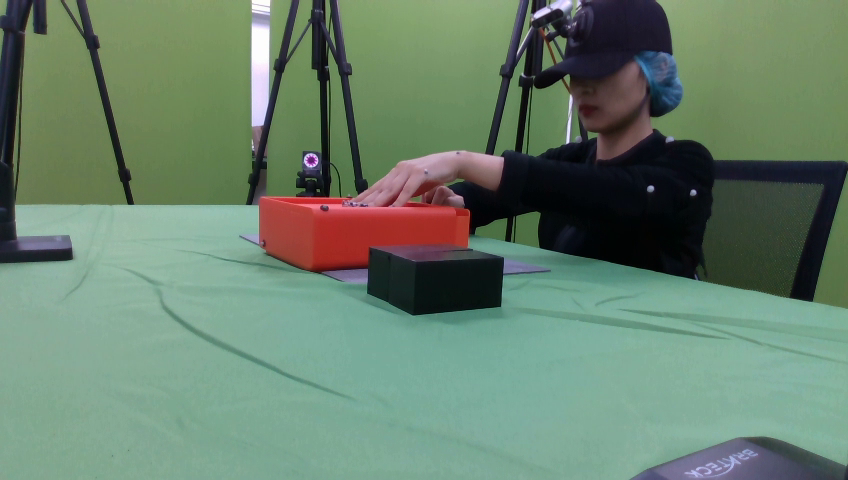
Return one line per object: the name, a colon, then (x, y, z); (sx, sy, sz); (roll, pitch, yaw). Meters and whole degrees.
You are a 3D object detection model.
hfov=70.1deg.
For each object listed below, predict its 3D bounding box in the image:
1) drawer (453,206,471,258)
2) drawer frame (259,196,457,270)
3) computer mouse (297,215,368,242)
drawer: (-0.074, -0.017, 0.861); (0.213, 0.073, 0.193); (-3, 10, -34)
drawer frame: (-0.095, -0.018, 0.845); (0.215, 0.082, 0.200); (-3, 10, -34)
computer mouse: (-0.156, -0.021, 1.032); (0.118, 0.041, 0.062); (-9, 15, -39)
